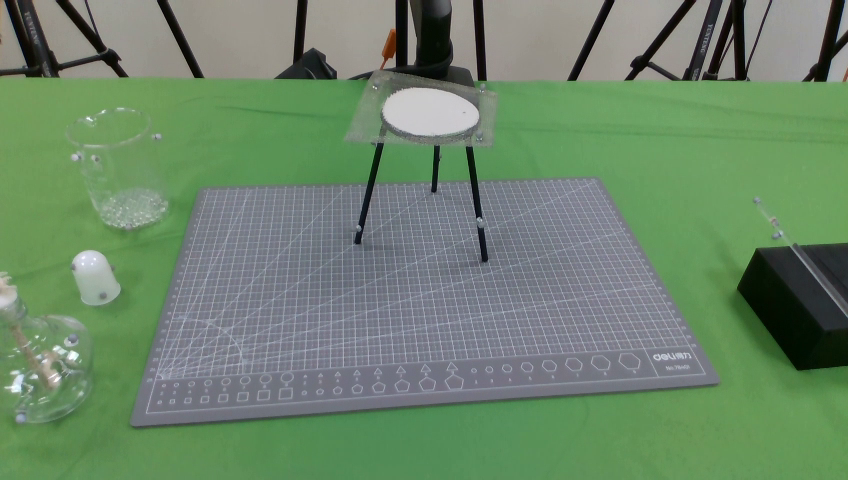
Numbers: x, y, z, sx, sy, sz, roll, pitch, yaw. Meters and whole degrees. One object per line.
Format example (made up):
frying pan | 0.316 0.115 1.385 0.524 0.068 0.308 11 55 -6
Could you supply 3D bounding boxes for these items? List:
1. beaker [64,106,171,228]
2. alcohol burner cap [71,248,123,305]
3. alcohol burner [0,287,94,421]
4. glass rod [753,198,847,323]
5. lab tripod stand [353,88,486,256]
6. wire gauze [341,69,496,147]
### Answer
beaker | -0.294 -0.069 0.589 0.083 0.101 0.074 27 45 27
alcohol burner cap | -0.281 0.029 0.517 0.034 0.048 0.033 2 40 -1
alcohol burner | -0.275 0.069 0.413 0.078 0.120 0.077 1 40 0
glass rod | 0.332 0.024 0.522 0.008 0.008 0.197 0 40 -4
lab tripod stand | 0.005 -0.064 0.574 0.148 0.132 0.147 4 39 -3
wire gauze | 0.001 -0.116 0.531 0.121 0.011 0.124 8 40 3
